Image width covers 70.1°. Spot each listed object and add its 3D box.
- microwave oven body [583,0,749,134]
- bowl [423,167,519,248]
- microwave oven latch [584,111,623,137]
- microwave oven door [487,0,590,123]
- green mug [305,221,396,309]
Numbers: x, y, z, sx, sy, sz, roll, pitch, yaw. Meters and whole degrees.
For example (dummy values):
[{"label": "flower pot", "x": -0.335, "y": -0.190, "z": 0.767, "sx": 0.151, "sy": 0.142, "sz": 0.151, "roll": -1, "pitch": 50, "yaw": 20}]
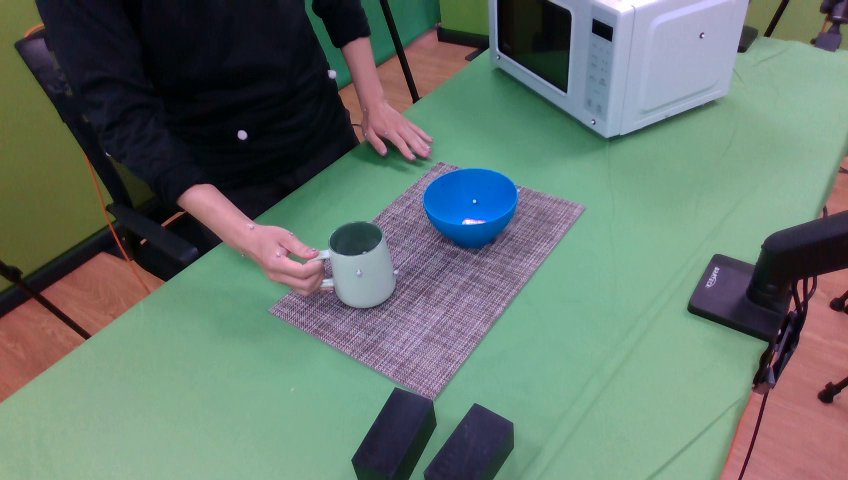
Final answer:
[{"label": "microwave oven body", "x": 0.382, "y": -0.444, "z": 1.246, "sx": 0.327, "sy": 0.261, "sz": 0.437, "roll": -22, "pitch": 42, "yaw": -16}, {"label": "bowl", "x": 0.075, "y": -0.041, "z": 0.959, "sx": 0.151, "sy": 0.077, "sz": 0.150, "roll": -4, "pitch": 40, "yaw": 4}, {"label": "microwave oven latch", "x": 0.337, "y": -0.222, "z": 1.142, "sx": 0.030, "sy": 0.029, "sz": 0.078, "roll": -21, "pitch": 42, "yaw": -14}, {"label": "microwave oven door", "x": 0.232, "y": -0.420, "z": 1.231, "sx": 0.039, "sy": 0.245, "sz": 0.352, "roll": -22, "pitch": 43, "yaw": -16}, {"label": "green mug", "x": -0.107, "y": 0.040, "z": 0.868, "sx": 0.125, "sy": 0.105, "sz": 0.092, "roll": -10, "pitch": 41, "yaw": -4}]
